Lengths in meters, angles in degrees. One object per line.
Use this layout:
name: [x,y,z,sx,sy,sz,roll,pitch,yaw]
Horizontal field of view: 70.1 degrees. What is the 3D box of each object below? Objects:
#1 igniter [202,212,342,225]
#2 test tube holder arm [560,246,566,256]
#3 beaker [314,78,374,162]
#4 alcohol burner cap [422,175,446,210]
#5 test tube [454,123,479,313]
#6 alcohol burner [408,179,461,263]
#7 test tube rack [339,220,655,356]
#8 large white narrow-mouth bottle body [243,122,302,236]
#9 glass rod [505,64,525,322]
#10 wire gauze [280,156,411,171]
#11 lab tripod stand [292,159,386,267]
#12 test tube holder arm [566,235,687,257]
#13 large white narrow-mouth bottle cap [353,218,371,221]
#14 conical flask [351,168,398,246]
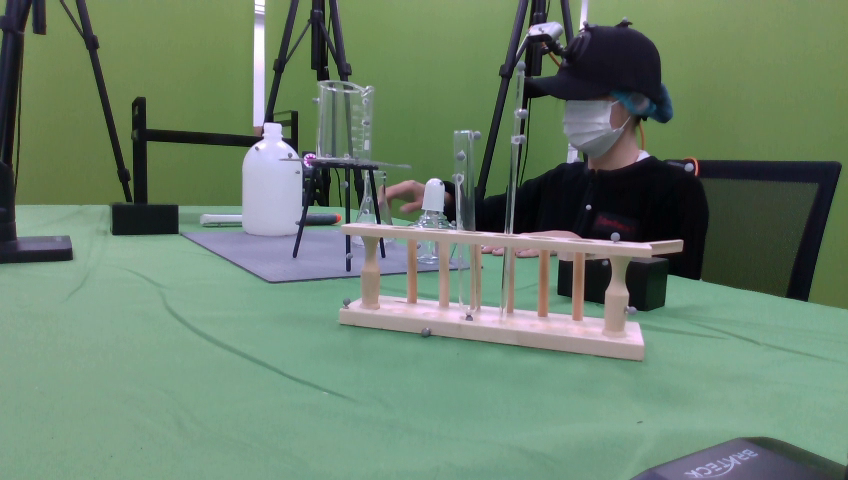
igniter: [-0.298,-0.043,1.216,0.278,0.025,0.057,-3,-2,-32]
test tube holder arm: [0.173,0.007,0.611,0.088,0.015,0.010,-3,9,-30]
beaker: [-0.101,-0.151,0.775,0.074,0.100,0.083,-2,8,-39]
alcohol burner cap: [0.016,-0.065,0.830,0.034,0.048,0.034,7,4,0]
test tube: [0.034,-0.016,0.477,0.017,0.150,0.017,-2,9,1]
alcohol burner: [0.013,-0.029,0.834,0.078,0.119,0.078,0,6,0]
test tube rack: [0.056,0.032,0.495,0.242,0.085,0.067,4,7,15]
large white narrow-mouth bottle body: [-0.264,-0.109,1.061,0.102,0.194,0.102,2,8,0]
glass rod: [0.069,-0.030,0.458,0.008,0.199,0.008,1,15,0]
wire gauze: [-0.103,-0.103,0.785,0.121,0.011,0.126,11,8,42]
lab tripod stand: [-0.105,-0.039,0.797,0.148,0.131,0.148,2,5,0]
test tube holder arm: [0.215,0.006,0.630,0.179,0.015,0.013,-3,9,-30]
large white narrow-mouth bottle cap: [-0.120,-0.029,1.184,0.038,0.024,0.037,2,8,0]
conical flask: [-0.078,-0.053,0.962,0.075,0.122,0.075,2,7,0]
